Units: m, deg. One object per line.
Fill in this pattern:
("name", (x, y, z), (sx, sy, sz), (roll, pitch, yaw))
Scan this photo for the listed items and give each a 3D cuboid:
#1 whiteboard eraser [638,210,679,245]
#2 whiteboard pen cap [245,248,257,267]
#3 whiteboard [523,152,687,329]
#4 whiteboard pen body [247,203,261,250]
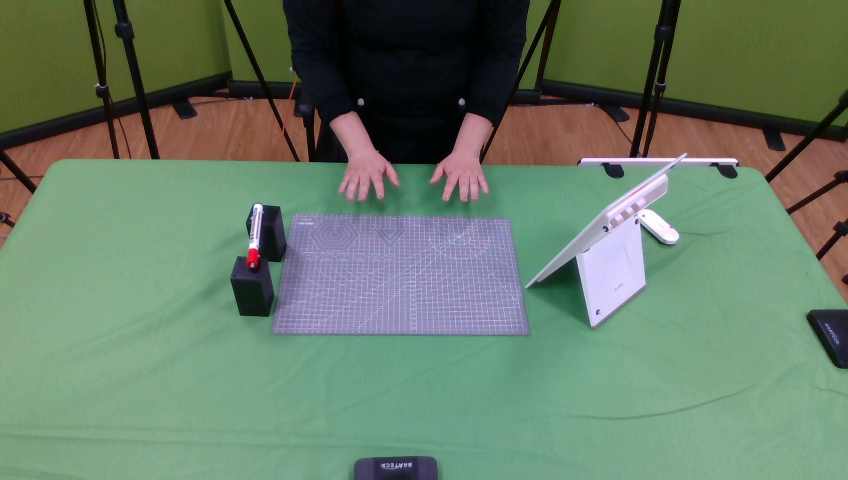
("whiteboard eraser", (0.485, -0.027, 1.260), (0.041, 0.019, 0.100), (-21, 50, -21))
("whiteboard pen cap", (-0.288, 0.028, 1.010), (0.017, 0.017, 0.032), (-2, 44, -6))
("whiteboard", (0.346, 0.025, 1.046), (0.217, 0.306, 0.143), (-30, 74, -29))
("whiteboard pen body", (-0.295, -0.014, 1.052), (0.017, 0.017, 0.139), (-2, 45, -7))
